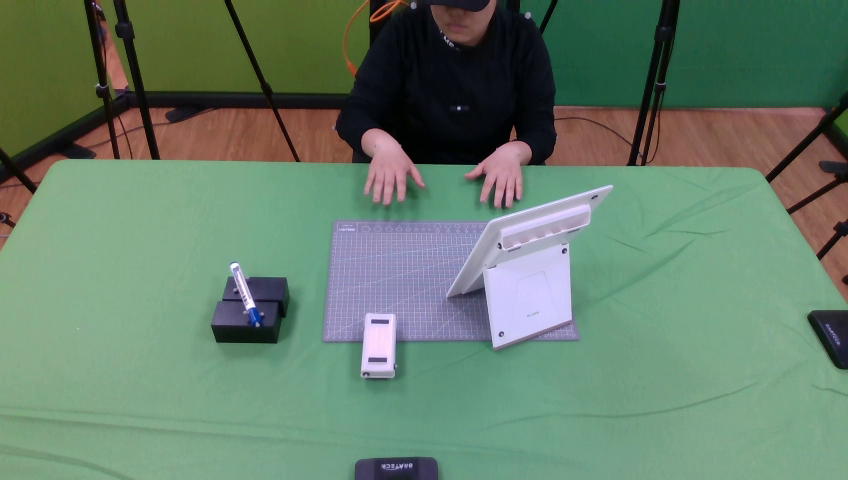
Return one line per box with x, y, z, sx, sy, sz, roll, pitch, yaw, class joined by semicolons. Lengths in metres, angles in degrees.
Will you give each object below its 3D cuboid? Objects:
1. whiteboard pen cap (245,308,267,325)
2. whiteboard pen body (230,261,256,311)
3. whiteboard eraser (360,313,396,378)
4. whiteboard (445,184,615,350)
-0.273;0.126;0.987;0.033;0.018;0.018;30;49;0;whiteboard pen cap
-0.304;0.086;1.025;0.017;0.017;0.140;-18;50;-20;whiteboard pen body
-0.075;0.176;1.006;0.055;0.042;0.112;3;50;-4;whiteboard eraser
0.186;0.065;0.989;0.217;0.306;0.143;-15;68;-18;whiteboard
